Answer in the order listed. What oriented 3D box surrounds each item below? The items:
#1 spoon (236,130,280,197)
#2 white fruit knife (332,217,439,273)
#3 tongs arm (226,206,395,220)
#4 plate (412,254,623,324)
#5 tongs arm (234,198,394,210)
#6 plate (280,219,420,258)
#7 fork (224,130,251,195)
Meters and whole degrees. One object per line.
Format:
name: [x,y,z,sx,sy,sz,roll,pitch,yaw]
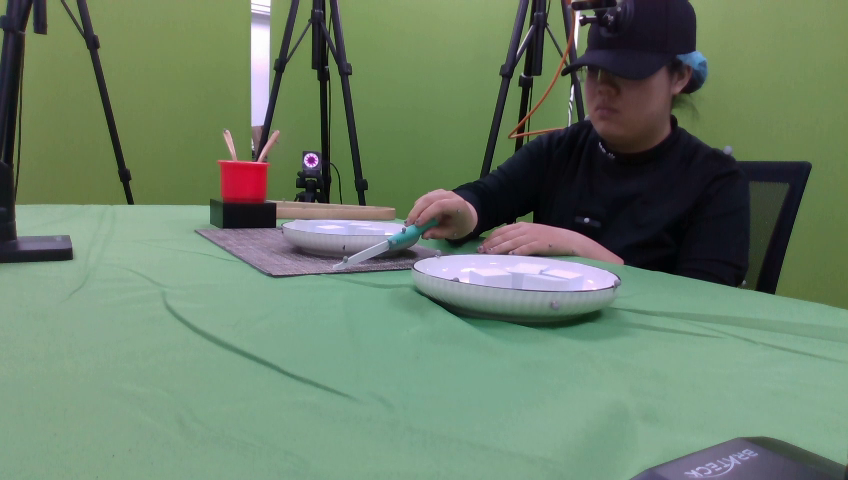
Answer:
spoon: [-0.321,-0.153,1.192,0.041,0.193,0.022,0,-37,19]
white fruit knife: [-0.045,0.005,0.798,0.016,0.027,0.208,39,39,22]
tongs arm: [-0.248,-0.061,1.382,0.389,0.028,0.028,0,6,-21]
plate: [0.090,0.047,0.609,0.209,0.038,0.209,2,7,0]
tongs arm: [-0.263,-0.076,1.460,0.386,0.026,0.050,3,8,-8]
plate: [-0.108,-0.002,0.901,0.208,0.039,0.207,3,7,0]
fork: [-0.372,-0.155,1.193,0.028,0.018,0.206,-17,54,-14]
